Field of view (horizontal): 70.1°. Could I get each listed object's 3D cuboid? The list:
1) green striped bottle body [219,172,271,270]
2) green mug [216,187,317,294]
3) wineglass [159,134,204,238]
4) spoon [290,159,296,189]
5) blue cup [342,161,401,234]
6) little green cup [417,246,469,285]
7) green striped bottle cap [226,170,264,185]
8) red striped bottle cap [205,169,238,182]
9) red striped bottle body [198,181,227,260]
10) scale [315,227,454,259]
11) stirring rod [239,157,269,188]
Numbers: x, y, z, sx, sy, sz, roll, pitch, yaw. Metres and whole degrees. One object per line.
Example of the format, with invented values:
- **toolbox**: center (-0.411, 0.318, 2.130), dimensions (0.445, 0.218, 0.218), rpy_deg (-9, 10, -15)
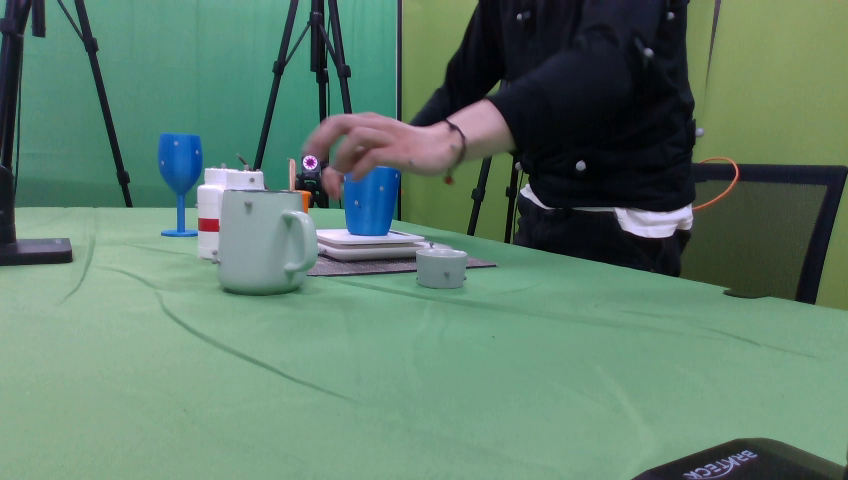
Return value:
- **green striped bottle body**: center (-0.223, -0.025, 0.756), dimensions (0.063, 0.119, 0.063), rpy_deg (2, 7, 0)
- **green mug**: center (-0.157, 0.000, 0.629), dimensions (0.124, 0.105, 0.093), rpy_deg (7, 9, 37)
- **wineglass**: center (-0.415, -0.093, 1.039), dimensions (0.074, 0.172, 0.073), rpy_deg (2, 7, 0)
- **spoon**: center (-0.273, -0.102, 1.252), dimensions (0.042, 0.193, 0.021), rpy_deg (7, -39, -18)
- **blue cup**: center (-0.079, -0.062, 0.883), dimensions (0.093, 0.100, 0.092), rpy_deg (3, 6, 0)
- **little green cup**: center (0.021, 0.029, 0.701), dimensions (0.061, 0.038, 0.061), rpy_deg (1, 6, 0)
- **green striped bottle cap**: center (-0.222, -0.077, 0.748), dimensions (0.044, 0.020, 0.044), rpy_deg (1, 7, 0)
- **red striped bottle cap**: center (-0.274, -0.088, 0.821), dimensions (0.044, 0.017, 0.044), rpy_deg (-2, 6, 0)
- **red striped bottle body**: center (-0.275, -0.036, 0.827), dimensions (0.063, 0.119, 0.063), rpy_deg (1, 7, 0)
- **scale**: center (-0.066, 0.001, 0.906), dimensions (0.202, 0.031, 0.148), rpy_deg (-2, 8, -31)
- **stirring rod**: center (-0.309, -0.098, 1.209), dimensions (0.006, 0.177, 0.014), rpy_deg (-39, 29, -4)
